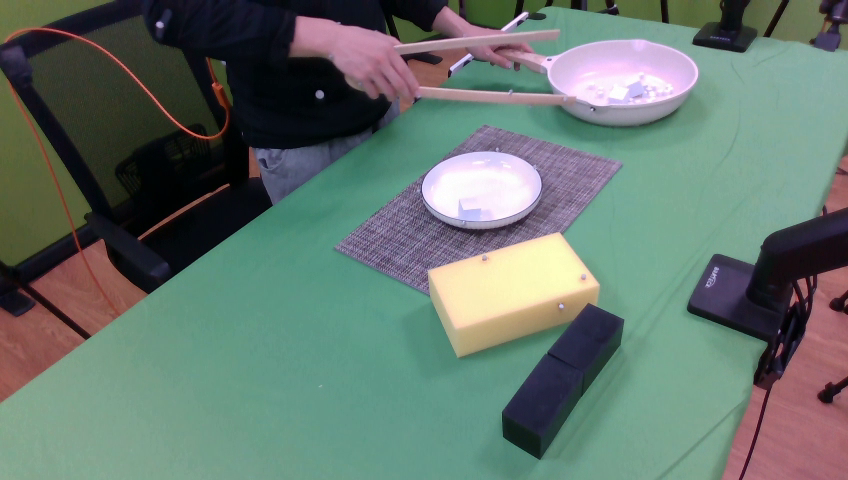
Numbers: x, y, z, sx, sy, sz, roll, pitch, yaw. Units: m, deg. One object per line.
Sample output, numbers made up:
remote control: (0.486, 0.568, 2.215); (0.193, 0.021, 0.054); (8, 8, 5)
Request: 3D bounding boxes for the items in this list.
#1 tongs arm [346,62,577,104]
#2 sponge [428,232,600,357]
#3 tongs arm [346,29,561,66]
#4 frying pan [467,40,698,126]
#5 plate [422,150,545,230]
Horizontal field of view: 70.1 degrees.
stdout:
tongs arm: (0.065, -0.258, 1.001); (0.386, 0.026, 0.050); (0, 71, -10)
sponge: (0.120, 0.071, 0.834); (0.207, 0.061, 0.117); (-15, 43, -12)
tongs arm: (0.056, -0.328, 1.026); (0.389, 0.028, 0.028); (-11, 77, -14)
frying pan: (0.312, -0.359, 1.278); (0.485, 0.103, 0.307); (23, 48, 19)
plate: (0.101, -0.082, 1.031); (0.207, 0.039, 0.206); (-4, 40, 4)
